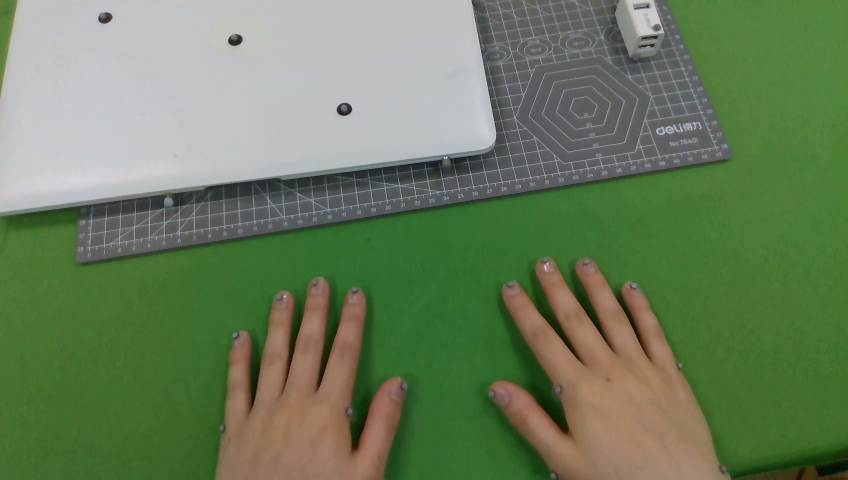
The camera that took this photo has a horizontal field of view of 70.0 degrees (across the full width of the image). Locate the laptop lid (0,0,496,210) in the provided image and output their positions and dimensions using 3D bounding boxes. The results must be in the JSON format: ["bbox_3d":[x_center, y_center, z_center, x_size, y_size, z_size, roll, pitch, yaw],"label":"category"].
[{"bbox_3d":[-0.137,-0.148,0.449,0.357,0.013,0.240,-6,68,0],"label":"laptop lid"}]

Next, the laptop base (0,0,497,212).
[{"bbox_3d":[-0.137,-0.144,0.461,0.354,0.023,0.233,-7,70,-1],"label":"laptop base"}]

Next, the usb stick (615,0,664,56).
[{"bbox_3d":[0.158,-0.169,0.452,0.021,0.027,0.058,-8,64,1],"label":"usb stick"}]
